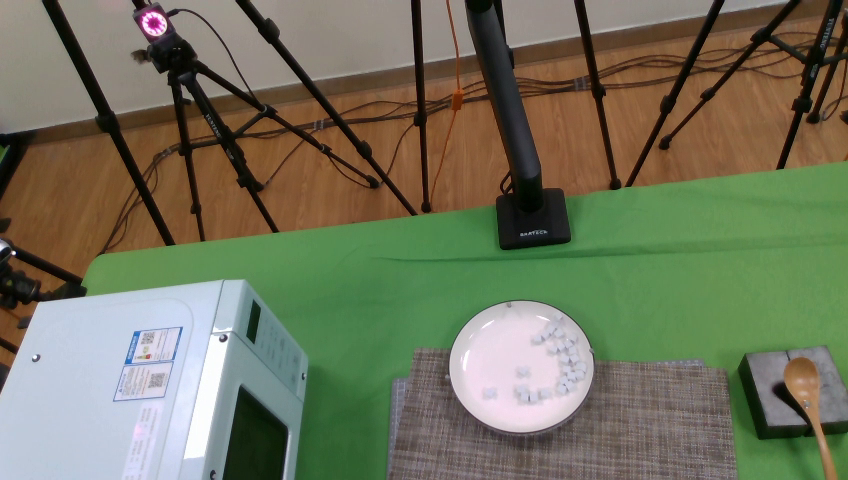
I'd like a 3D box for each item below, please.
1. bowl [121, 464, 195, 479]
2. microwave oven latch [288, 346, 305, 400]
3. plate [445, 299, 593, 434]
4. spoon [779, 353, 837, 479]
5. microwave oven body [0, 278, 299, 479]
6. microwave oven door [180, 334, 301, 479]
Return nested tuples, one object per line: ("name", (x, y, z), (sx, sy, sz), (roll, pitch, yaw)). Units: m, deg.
("bowl", (-0.331, 0.367, 0.758), (0.151, 0.077, 0.150), (-6, 53, 9))
("microwave oven latch", (-0.200, 0.205, 0.926), (0.030, 0.030, 0.078), (-7, 54, 8))
("plate", (0.136, 0.183, 0.877), (0.209, 0.038, 0.207), (-7, 52, 9))
("spoon", (0.472, 0.233, 0.729), (0.041, 0.022, 0.192), (-11, 75, 4))
("microwave oven body", (-0.363, 0.310, 0.768), (0.326, 0.263, 0.437), (-7, 54, 8))
("microwave oven door", (-0.220, 0.322, 0.718), (0.039, 0.246, 0.352), (-8, 53, 9))
